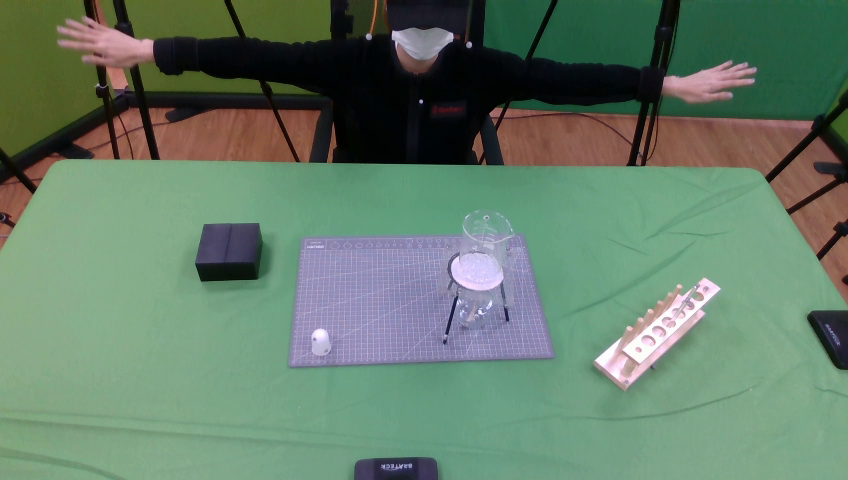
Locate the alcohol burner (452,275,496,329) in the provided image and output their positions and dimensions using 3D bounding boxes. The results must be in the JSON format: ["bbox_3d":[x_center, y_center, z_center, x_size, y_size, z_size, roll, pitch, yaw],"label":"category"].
[{"bbox_3d":[0.087,0.099,1.042,0.078,0.119,0.077,3,48,-3],"label":"alcohol burner"}]

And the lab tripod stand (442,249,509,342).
[{"bbox_3d":[0.081,0.091,1.036,0.148,0.132,0.147,3,44,-3],"label":"lab tripod stand"}]

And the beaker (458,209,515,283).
[{"bbox_3d":[0.094,0.013,0.952,0.084,0.101,0.073,12,46,7],"label":"beaker"}]

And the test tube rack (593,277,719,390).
[{"bbox_3d":[0.401,0.148,1.043,0.242,0.085,0.066,-30,55,-29],"label":"test tube rack"}]

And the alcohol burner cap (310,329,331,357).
[{"bbox_3d":[-0.173,0.168,1.005,0.034,0.048,0.033,2,46,-2],"label":"alcohol burner cap"}]

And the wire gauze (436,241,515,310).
[{"bbox_3d":[0.086,0.052,0.982,0.125,0.011,0.121,11,47,2],"label":"wire gauze"}]

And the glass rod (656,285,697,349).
[{"bbox_3d":[0.401,0.128,0.971,0.008,0.201,0.008,0,53,1],"label":"glass rod"}]
